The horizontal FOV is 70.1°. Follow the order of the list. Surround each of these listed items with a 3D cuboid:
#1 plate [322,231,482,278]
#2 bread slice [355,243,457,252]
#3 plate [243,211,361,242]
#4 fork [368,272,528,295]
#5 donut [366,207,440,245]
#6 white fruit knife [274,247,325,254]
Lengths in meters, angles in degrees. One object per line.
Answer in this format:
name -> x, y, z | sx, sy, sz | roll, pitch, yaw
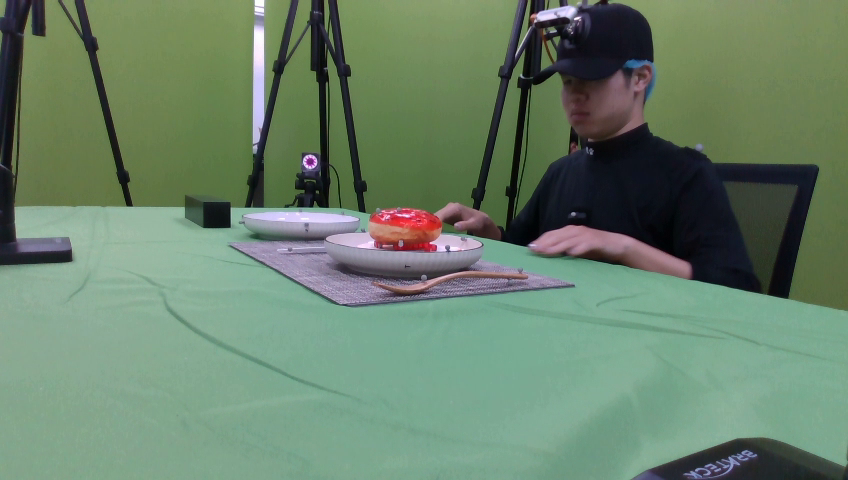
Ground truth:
plate -> -0.028, 0.018, 0.789 | 0.209, 0.038, 0.209 | 3, 7, 0
bread slice -> -0.027, 0.019, 0.794 | 0.131, 0.019, 0.105 | 6, 7, 17
plate -> -0.219, -0.025, 1.092 | 0.208, 0.039, 0.207 | 3, 7, 0
fork -> 0.034, 0.046, 0.661 | 0.208, 0.018, 0.028 | -4, 2, -33
donut -> -0.027, -0.017, 0.786 | 0.099, 0.048, 0.099 | 2, 7, 0
white fruit knife -> -0.118, 0.013, 0.899 | 0.208, 0.016, 0.027 | -3, -20, -27
